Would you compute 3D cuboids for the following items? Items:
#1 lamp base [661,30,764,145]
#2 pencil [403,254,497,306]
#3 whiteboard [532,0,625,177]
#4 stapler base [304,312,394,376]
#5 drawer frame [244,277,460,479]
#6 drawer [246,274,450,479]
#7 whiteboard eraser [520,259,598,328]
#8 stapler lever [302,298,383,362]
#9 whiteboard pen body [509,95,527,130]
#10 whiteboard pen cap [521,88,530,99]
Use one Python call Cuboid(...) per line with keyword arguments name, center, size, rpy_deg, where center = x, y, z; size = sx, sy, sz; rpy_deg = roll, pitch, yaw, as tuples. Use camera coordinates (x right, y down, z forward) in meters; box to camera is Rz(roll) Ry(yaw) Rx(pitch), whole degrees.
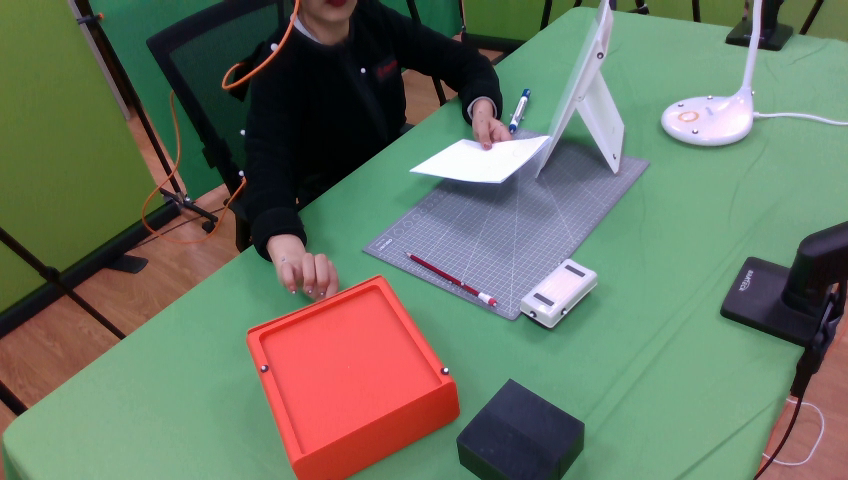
Cuboid(name="lamp base", center=(0.535, -0.287, 1.096), size=(0.179, 0.181, 0.159), rpy_deg=(-10, 40, -4))
Cuboid(name="pencil", center=(0.034, 0.056, 0.914), size=(0.192, 0.012, 0.012), rpy_deg=(27, 52, 38))
Cuboid(name="whiteboard", center=(0.321, -0.258, 1.050), size=(0.144, 0.306, 0.217), rpy_deg=(21, 45, 5))
Cuboid(name="stapler base", center=(-0.104, 0.134, 0.825), size=(0.131, 0.024, 0.041), rpy_deg=(-31, 37, -13))
Cuboid(name="drawer frame", center=(-0.093, 0.167, 0.755), size=(0.202, 0.083, 0.211), rpy_deg=(-23, 43, -17))
Cuboid(name="drawer", center=(-0.099, 0.161, 0.763), size=(0.195, 0.073, 0.210), rpy_deg=(-22, 41, -16))
Cuboid(name="whiteboard eraser", center=(0.189, 0.076, 0.843), size=(0.055, 0.042, 0.113), rpy_deg=(29, 53, 37))
Cuboid(name="stapler lever", center=(-0.110, 0.119, 0.811), size=(0.118, 0.040, 0.026), rpy_deg=(-27, 36, -15))
Cuboid(name="whiteboard pen body", center=(0.199, -0.273, 1.262), size=(0.017, 0.017, 0.140), rpy_deg=(7, 44, 18))
Cuboid(name="whiteboard pen cap", center=(0.218, -0.312, 1.301), size=(0.018, 0.018, 0.033), rpy_deg=(6, 47, 17))
